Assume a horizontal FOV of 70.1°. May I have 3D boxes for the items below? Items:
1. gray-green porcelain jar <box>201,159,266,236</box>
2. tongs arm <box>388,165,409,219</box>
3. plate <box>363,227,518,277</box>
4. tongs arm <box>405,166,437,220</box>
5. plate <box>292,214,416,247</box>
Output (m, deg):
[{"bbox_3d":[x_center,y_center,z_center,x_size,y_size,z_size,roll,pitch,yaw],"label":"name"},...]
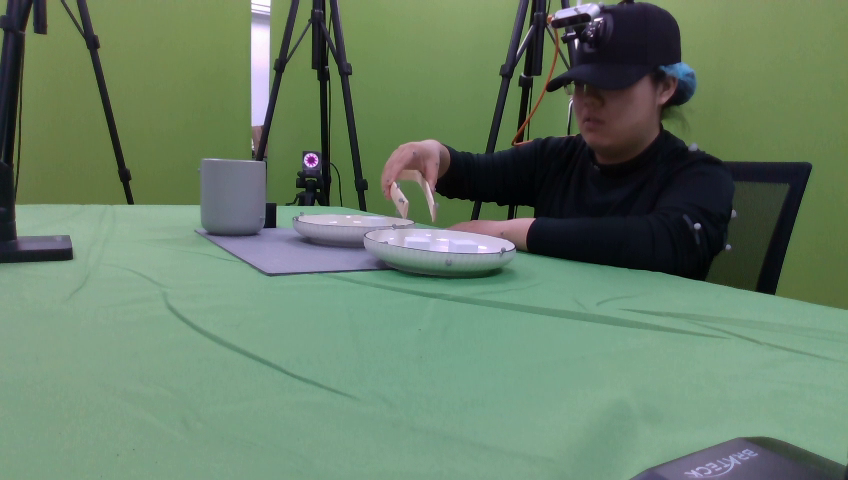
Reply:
[{"bbox_3d":[-0.326,-0.073,1.036,0.106,0.126,0.106,3,8,0],"label":"gray-green porcelain jar"},{"bbox_3d":[-0.031,-0.086,0.984,0.051,0.026,0.384,1,14,-10],"label":"tongs arm"},{"bbox_3d":[0.021,0.016,0.817,0.209,0.038,0.209,4,9,0],"label":"plate"},{"bbox_3d":[-0.005,-0.084,0.987,0.028,0.028,0.387,-1,14,-5],"label":"tongs arm"},{"bbox_3d":[-0.118,-0.017,1.024,0.208,0.039,0.207,2,7,0],"label":"plate"}]
